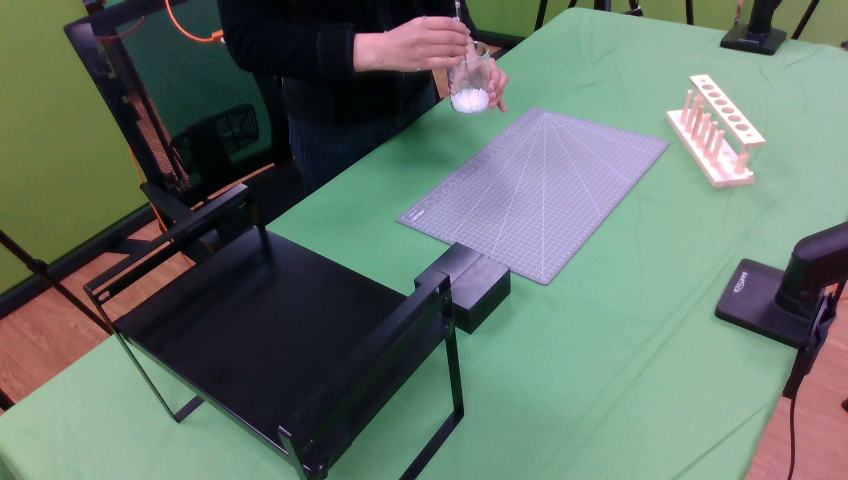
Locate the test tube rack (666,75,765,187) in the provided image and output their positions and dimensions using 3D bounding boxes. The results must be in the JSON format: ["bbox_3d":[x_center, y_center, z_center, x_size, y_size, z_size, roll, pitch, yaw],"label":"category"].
[{"bbox_3d":[0.512,-0.201,1.082,0.067,0.085,0.241,-5,41,2],"label":"test tube rack"}]

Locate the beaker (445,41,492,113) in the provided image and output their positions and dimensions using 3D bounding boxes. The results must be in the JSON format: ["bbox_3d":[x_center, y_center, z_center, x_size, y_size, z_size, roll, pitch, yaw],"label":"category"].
[{"bbox_3d":[0.075,-0.273,1.016,0.083,0.101,0.074,29,54,36],"label":"beaker"}]

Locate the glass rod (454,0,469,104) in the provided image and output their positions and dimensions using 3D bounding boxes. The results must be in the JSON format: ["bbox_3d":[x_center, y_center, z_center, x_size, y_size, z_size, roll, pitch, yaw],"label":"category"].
[{"bbox_3d":[0.060,-0.303,0.958,0.008,0.201,0.008,-6,44,6],"label":"glass rod"}]
